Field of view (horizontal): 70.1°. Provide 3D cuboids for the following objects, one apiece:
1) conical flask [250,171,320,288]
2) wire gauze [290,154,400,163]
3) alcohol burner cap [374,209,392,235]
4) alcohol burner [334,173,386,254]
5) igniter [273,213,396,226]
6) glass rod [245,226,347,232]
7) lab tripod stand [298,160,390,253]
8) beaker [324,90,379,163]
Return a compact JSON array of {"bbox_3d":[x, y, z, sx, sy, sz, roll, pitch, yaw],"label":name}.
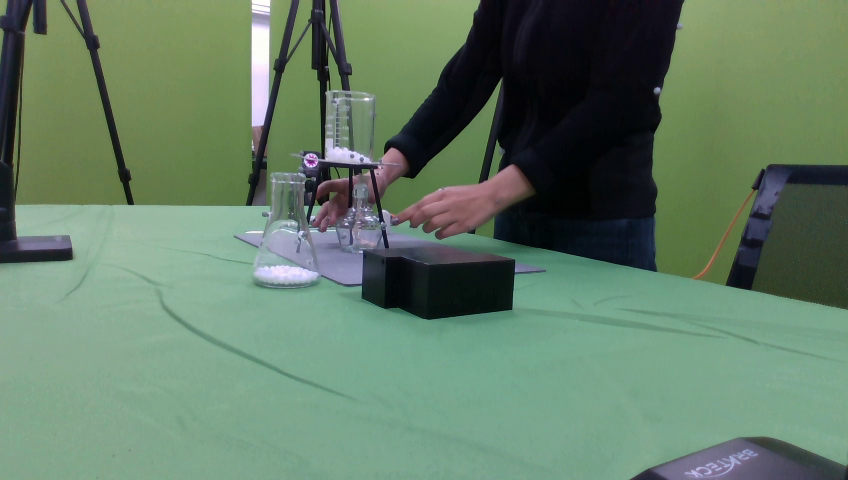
[{"bbox_3d":[-0.150,-0.013,0.658,0.075,0.122,0.075,2,7,0],"label":"conical flask"},{"bbox_3d":[-0.112,-0.114,0.883,0.124,0.011,0.122,5,5,28],"label":"wire gauze"},{"bbox_3d":[-0.078,-0.035,1.148,0.034,0.048,0.034,3,7,0],"label":"alcohol burner cap"},{"bbox_3d":[-0.095,-0.040,0.902,0.078,0.119,0.078,1,6,0],"label":"alcohol burner"},{"bbox_3d":[-0.179,-0.044,1.258,0.278,0.025,0.057,-3,-1,-39],"label":"igniter"},{"bbox_3d":[-0.237,-0.021,1.141,0.201,0.008,0.008,-2,8,-33],"label":"glass rod"},{"bbox_3d":[-0.111,-0.050,0.893,0.148,0.131,0.148,4,6,0],"label":"lab tripod stand"},{"bbox_3d":[-0.110,-0.162,0.879,0.083,0.100,0.074,8,7,36],"label":"beaker"}]
